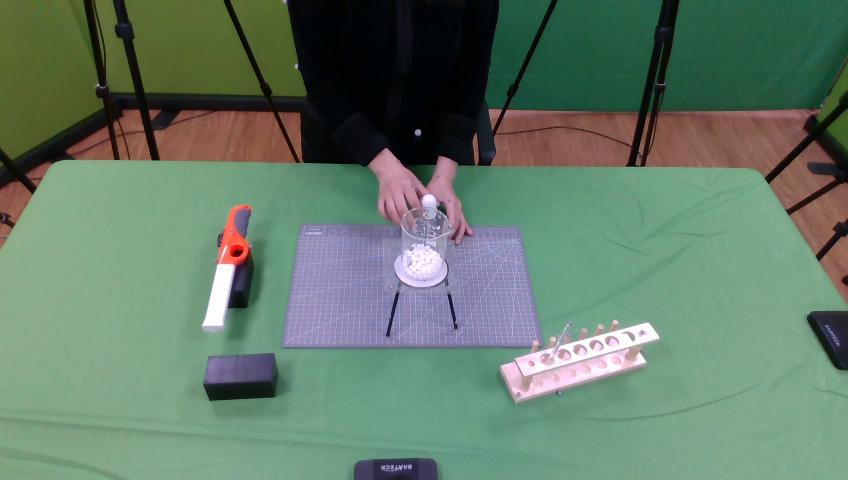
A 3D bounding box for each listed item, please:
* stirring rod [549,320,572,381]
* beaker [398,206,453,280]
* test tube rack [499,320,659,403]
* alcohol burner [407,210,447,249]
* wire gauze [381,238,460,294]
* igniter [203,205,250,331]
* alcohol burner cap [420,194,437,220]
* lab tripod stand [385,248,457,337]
[{"bbox_3d":[0.202,0.167,0.901,0.006,0.177,0.014,-17,55,-11],"label":"stirring rod"},{"bbox_3d":[0.000,0.008,0.950,0.084,0.101,0.073,10,45,6],"label":"beaker"},{"bbox_3d":[0.252,0.187,0.994,0.243,0.085,0.066,-12,48,-15],"label":"test tube rack"},{"bbox_3d":[0.006,-0.040,1.170,0.078,0.120,0.077,1,46,-1],"label":"alcohol burner"},{"bbox_3d":[-0.007,0.042,0.985,0.125,0.011,0.120,-1,43,-2],"label":"wire gauze"},{"bbox_3d":[-0.345,0.039,1.065,0.057,0.025,0.274,2,48,-6],"label":"igniter"},{"bbox_3d":[0.008,-0.065,1.143,0.034,0.048,0.033,-1,45,2],"label":"alcohol burner cap"},{"bbox_3d":[-0.010,0.087,1.032,0.148,0.132,0.147,1,45,-1],"label":"lab tripod stand"}]
